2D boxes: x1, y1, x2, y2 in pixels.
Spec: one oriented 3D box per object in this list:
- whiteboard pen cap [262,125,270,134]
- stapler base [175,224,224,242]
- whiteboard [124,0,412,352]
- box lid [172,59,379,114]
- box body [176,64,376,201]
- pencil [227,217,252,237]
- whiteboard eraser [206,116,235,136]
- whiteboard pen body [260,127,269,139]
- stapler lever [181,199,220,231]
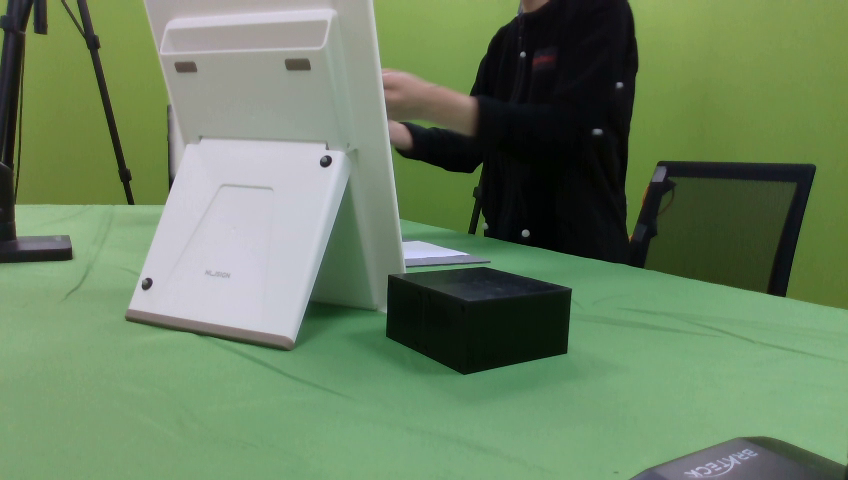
[{"bbox_3d":[-0.349,-0.244,1.337,0.018,0.018,0.033,0,2,-17],"label":"whiteboard pen cap"},{"bbox_3d":[-0.348,-0.014,0.947,0.041,0.024,0.130,1,7,-3],"label":"stapler base"},{"bbox_3d":[-0.151,-0.049,0.471,0.216,0.305,0.144,6,27,24],"label":"whiteboard"},{"bbox_3d":[-0.206,-0.231,0.951,0.264,0.015,0.371,4,5,-4],"label":"box lid"},{"bbox_3d":[-0.213,-0.158,0.961,0.254,0.160,0.363,5,6,-4],"label":"box body"},{"bbox_3d":[-0.333,-0.024,1.092,0.012,0.012,0.193,2,10,-5],"label":"pencil"},{"bbox_3d":[-0.450,-0.252,1.335,0.056,0.042,0.112,1,7,-22],"label":"whiteboard eraser"},{"bbox_3d":[-0.366,-0.247,1.392,0.017,0.017,0.140,0,4,-17],"label":"whiteboard pen body"},{"bbox_3d":[-0.346,-0.040,0.942,0.027,0.040,0.118,1,8,-3],"label":"stapler lever"}]
